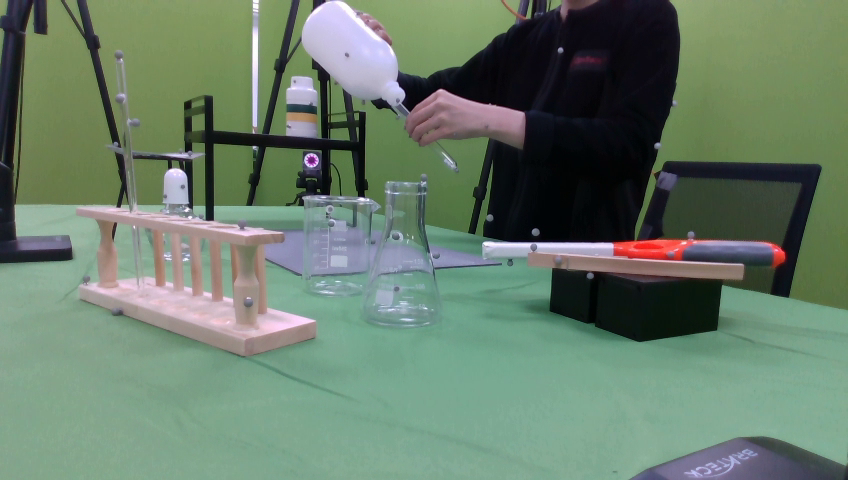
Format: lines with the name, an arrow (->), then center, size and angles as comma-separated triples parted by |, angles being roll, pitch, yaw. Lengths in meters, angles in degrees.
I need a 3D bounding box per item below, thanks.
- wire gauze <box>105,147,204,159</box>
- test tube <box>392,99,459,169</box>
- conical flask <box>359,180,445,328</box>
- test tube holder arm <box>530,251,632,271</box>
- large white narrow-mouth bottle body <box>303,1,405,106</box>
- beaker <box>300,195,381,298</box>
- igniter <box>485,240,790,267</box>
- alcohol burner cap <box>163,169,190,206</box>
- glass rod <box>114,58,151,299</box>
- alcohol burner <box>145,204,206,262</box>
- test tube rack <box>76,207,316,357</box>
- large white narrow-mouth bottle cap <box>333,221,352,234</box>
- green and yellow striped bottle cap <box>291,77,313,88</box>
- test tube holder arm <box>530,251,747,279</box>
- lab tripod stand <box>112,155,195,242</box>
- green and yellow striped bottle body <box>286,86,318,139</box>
wire gauze -> -0.407, -0.131, 0.929 | 0.125, 0.011, 0.121 | 2, 6, -11
test tube -> 0.002, -0.164, 0.934 | 0.150, 0.017, 0.017 | 48, 25, 15
conical flask -> -0.017, 0.010, 0.522 | 0.075, 0.122, 0.075 | 2, 7, 0
test tube holder arm -> 0.139, 0.019, 0.538 | 0.087, 0.015, 0.010 | 3, 7, 13
large white narrow-mouth bottle body -> -0.103, -0.290, 0.978 | 0.194, 0.101, 0.102 | 47, 24, 15
beaker -> -0.087, 0.006, 0.626 | 0.084, 0.100, 0.074 | 1, 8, -17
igniter -> 0.197, 0.012, 0.585 | 0.276, 0.025, 0.057 | 1, 5, 12
alcohol burner cap -> -0.321, -0.068, 0.782 | 0.034, 0.048, 0.034 | 1, 7, 0
glass rod -> -0.236, -0.044, 0.492 | 0.008, 0.199, 0.008 | 0, 15, 0
alcohol burner -> -0.321, -0.032, 0.788 | 0.078, 0.119, 0.078 | 0, 7, 0
test tube rack -> -0.196, 0.023, 0.500 | 0.241, 0.085, 0.067 | 8, 9, 36
large white narrow-mouth bottle cap -> -0.153, -0.024, 1.134 | 0.038, 0.024, 0.037 | 4, 7, 0
green and yellow striped bottle cap -> -0.250, -0.321, 1.238 | 0.045, 0.020, 0.045 | 3, 6, 0
test tube holder arm -> 0.182, 0.022, 0.523 | 0.178, 0.015, 0.013 | 3, 7, 12
lab tripod stand -> -0.405, -0.064, 0.931 | 0.148, 0.131, 0.148 | 1, 7, 0
green and yellow striped bottle body -> -0.251, -0.270, 1.245 | 0.063, 0.119, 0.063 | 2, 7, 0
